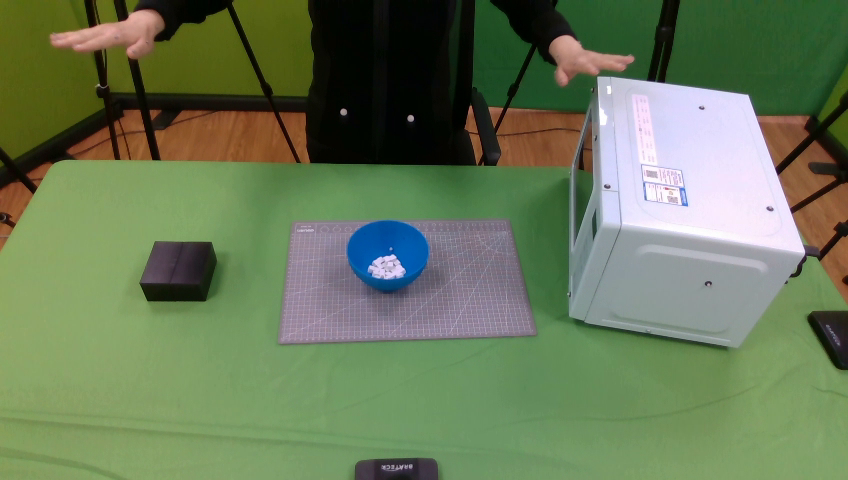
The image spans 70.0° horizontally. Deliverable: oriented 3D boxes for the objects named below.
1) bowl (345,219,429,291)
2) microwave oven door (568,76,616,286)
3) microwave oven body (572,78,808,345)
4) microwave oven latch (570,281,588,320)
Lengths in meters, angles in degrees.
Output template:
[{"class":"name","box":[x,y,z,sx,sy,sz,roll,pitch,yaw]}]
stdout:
[{"class":"bowl","box":[-0.068,0.041,1.111,0.151,0.077,0.150,2,46,-2]},{"class":"microwave oven door","box":[0.319,-0.119,1.161,0.039,0.245,0.354,9,46,5]},{"class":"microwave oven body","box":[0.455,-0.063,1.124,0.326,0.261,0.439,8,45,5]},{"class":"microwave oven latch","box":[0.275,0.105,1.082,0.030,0.029,0.079,10,45,6]}]
